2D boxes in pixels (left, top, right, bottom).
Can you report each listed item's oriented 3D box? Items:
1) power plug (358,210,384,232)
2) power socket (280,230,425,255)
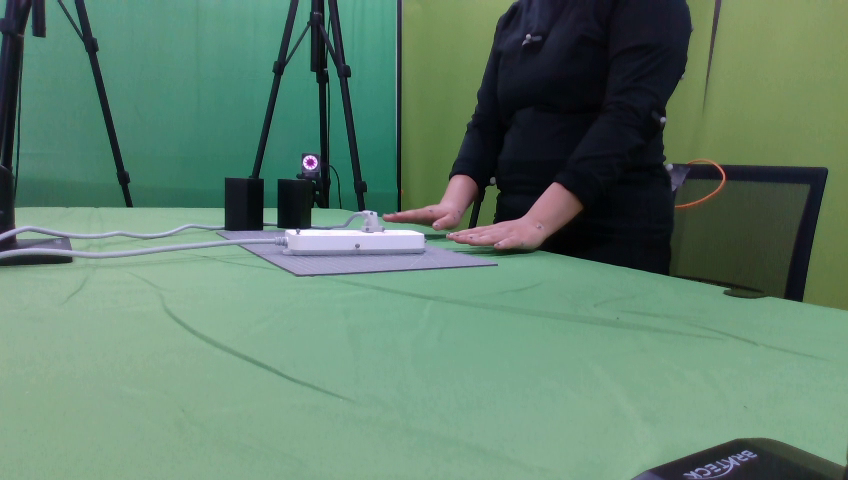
[{"bbox_3d":[-0.085,-0.020,0.958,0.035,0.052,0.072,1,5,-12],"label":"power plug"},{"bbox_3d":[-0.105,0.002,0.920,0.228,0.032,0.072,-1,7,-23],"label":"power socket"}]
